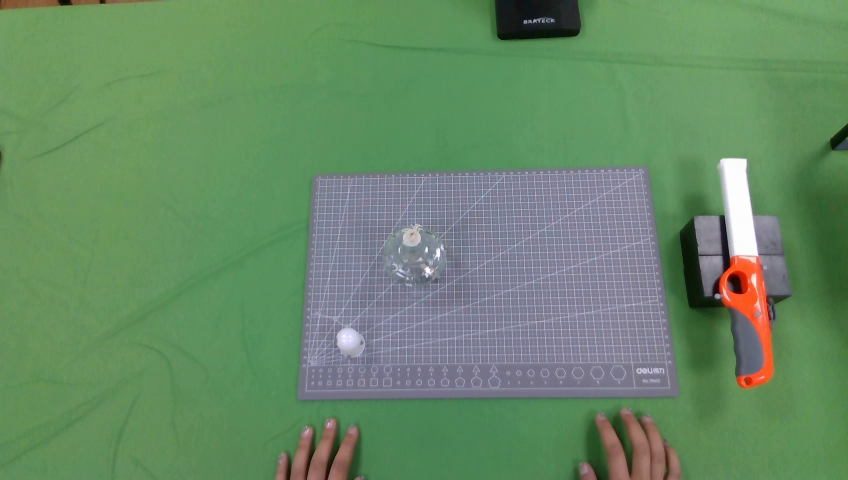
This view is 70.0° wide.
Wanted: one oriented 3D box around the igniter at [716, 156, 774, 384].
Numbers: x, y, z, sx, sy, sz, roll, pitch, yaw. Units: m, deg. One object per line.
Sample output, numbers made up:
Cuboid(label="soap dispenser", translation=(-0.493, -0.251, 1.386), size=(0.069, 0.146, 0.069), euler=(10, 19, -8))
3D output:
Cuboid(label="igniter", translation=(0.365, 0.027, 0.698), size=(0.057, 0.025, 0.274), euler=(3, 69, 6))

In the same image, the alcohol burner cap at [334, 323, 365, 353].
Cuboid(label="alcohol burner cap", translation=(-0.091, 0.116, 0.725), size=(0.034, 0.048, 0.033), euler=(-1, 70, 4))

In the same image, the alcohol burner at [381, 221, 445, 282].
Cuboid(label="alcohol burner", translation=(-0.014, 0.008, 0.721), size=(0.078, 0.120, 0.077), euler=(0, 70, 1))
